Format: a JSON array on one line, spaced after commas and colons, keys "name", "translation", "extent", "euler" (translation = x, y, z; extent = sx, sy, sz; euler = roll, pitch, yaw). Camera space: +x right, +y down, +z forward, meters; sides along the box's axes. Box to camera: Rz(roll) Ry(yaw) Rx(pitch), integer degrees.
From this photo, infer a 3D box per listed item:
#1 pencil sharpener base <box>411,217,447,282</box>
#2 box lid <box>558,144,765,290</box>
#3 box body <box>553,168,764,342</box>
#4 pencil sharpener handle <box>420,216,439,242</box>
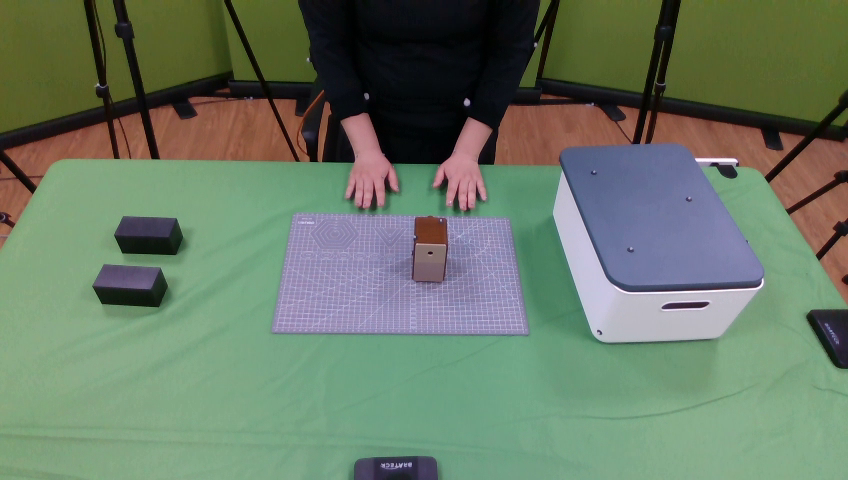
[{"name": "pencil sharpener base", "translation": [0.009, 0.017, 1.118], "extent": [0.061, 0.107, 0.076], "euler": [1, 45, -2]}, {"name": "box lid", "translation": [0.404, -0.054, 1.073], "extent": [0.263, 0.015, 0.369], "euler": [-2, 45, -5]}, {"name": "box body", "translation": [0.403, 0.006, 1.125], "extent": [0.254, 0.161, 0.361], "euler": [-2, 46, -5]}, {"name": "pencil sharpener handle", "translation": [0.008, -0.027, 1.145], "extent": [0.036, 0.068, 0.030], "euler": [6, 45, -6]}]
